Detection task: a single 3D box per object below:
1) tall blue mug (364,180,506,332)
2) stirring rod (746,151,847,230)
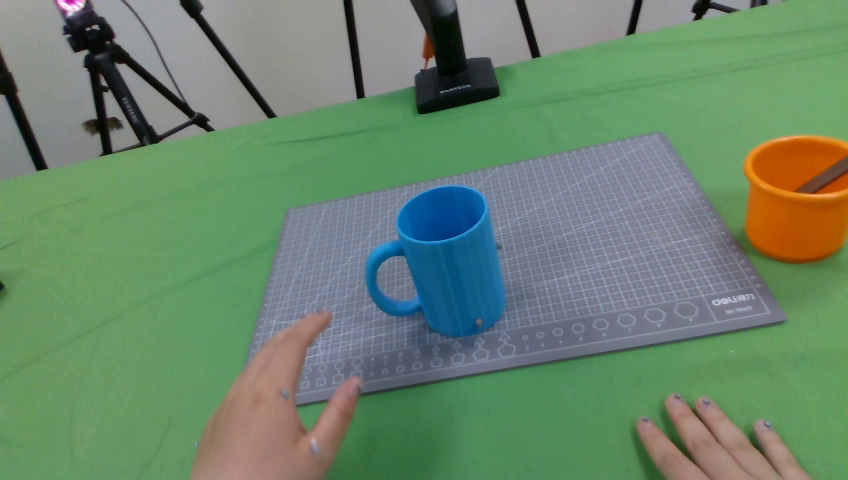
[{"bbox_3d":[0.013,0.023,0.507,0.107,0.109,0.077,-36,44,-23],"label":"tall blue mug"},{"bbox_3d":[0.334,-0.062,0.480,0.176,0.006,0.014,-46,25,36],"label":"stirring rod"}]
